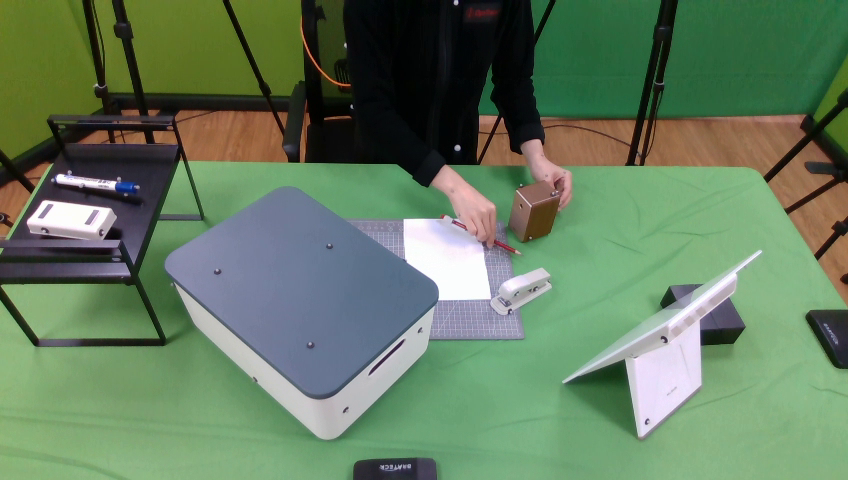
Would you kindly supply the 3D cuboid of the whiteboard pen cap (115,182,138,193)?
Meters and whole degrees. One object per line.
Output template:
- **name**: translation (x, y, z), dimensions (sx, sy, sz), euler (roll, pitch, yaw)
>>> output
- **whiteboard pen cap**: translation (-0.483, -0.086, 0.984), dimensions (0.033, 0.018, 0.018), euler (7, 46, 10)

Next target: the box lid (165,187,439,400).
- **box lid**: translation (-0.186, 0.060, 0.925), dimensions (0.370, 0.015, 0.263), euler (32, 53, 25)

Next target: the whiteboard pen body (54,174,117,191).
- **whiteboard pen body**: translation (-0.541, -0.093, 0.993), dimensions (0.140, 0.017, 0.017), euler (7, 46, 9)

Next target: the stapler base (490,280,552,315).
- **stapler base**: translation (0.181, 0.094, 1.118), dimensions (0.130, 0.024, 0.041), euler (-24, 57, -29)

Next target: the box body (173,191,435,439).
- **box body**: translation (-0.191, 0.110, 0.979), dimensions (0.362, 0.161, 0.254), euler (33, 53, 24)

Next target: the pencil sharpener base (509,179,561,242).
- **pencil sharpener base**: translation (0.222, -0.059, 1.212), dimensions (0.077, 0.107, 0.061), euler (-18, 50, -21)

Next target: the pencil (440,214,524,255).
- **pencil**: translation (0.114, -0.011, 1.212), dimensions (0.193, 0.012, 0.012), euler (27, 50, 21)

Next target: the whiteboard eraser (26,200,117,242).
- **whiteboard eraser**: translation (-0.532, -0.026, 0.919), dimensions (0.113, 0.042, 0.055), euler (7, 45, 3)

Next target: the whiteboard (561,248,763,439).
- **whiteboard**: translation (0.386, 0.176, 0.905), dimensions (0.217, 0.306, 0.143), euler (-26, 72, -27)

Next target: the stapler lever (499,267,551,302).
- **stapler lever**: translation (0.185, 0.076, 1.101), dimensions (0.118, 0.040, 0.026), euler (-25, 57, -29)

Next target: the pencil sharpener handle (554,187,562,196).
- **pencil sharpener handle**: translation (0.266, -0.085, 1.223), dimensions (0.031, 0.068, 0.036), euler (-18, 64, -21)
